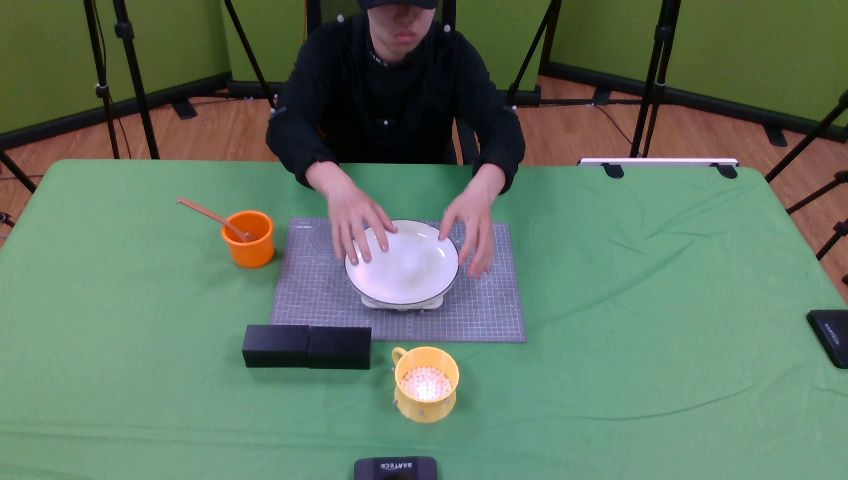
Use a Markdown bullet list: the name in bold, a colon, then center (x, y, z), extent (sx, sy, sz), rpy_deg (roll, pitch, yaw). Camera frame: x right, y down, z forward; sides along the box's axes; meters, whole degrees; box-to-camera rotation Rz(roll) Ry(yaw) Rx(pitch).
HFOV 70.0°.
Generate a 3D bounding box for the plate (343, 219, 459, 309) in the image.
- **plate**: center (-0.041, 0.046, 1.094), extent (0.209, 0.038, 0.208), rpy_deg (2, 46, -2)

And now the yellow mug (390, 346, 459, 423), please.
- **yellow mug**: center (-0.009, 0.217, 0.958), extent (0.100, 0.064, 0.130), rpy_deg (-33, 56, -31)

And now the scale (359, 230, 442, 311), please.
- **scale**: center (-0.043, 0.047, 1.138), extent (0.149, 0.032, 0.199), rpy_deg (2, 45, -3)

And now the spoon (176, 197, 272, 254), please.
- **spoon**: center (-0.362, -0.027, 1.108), extent (0.021, 0.195, 0.041), rpy_deg (-35, 36, 24)
